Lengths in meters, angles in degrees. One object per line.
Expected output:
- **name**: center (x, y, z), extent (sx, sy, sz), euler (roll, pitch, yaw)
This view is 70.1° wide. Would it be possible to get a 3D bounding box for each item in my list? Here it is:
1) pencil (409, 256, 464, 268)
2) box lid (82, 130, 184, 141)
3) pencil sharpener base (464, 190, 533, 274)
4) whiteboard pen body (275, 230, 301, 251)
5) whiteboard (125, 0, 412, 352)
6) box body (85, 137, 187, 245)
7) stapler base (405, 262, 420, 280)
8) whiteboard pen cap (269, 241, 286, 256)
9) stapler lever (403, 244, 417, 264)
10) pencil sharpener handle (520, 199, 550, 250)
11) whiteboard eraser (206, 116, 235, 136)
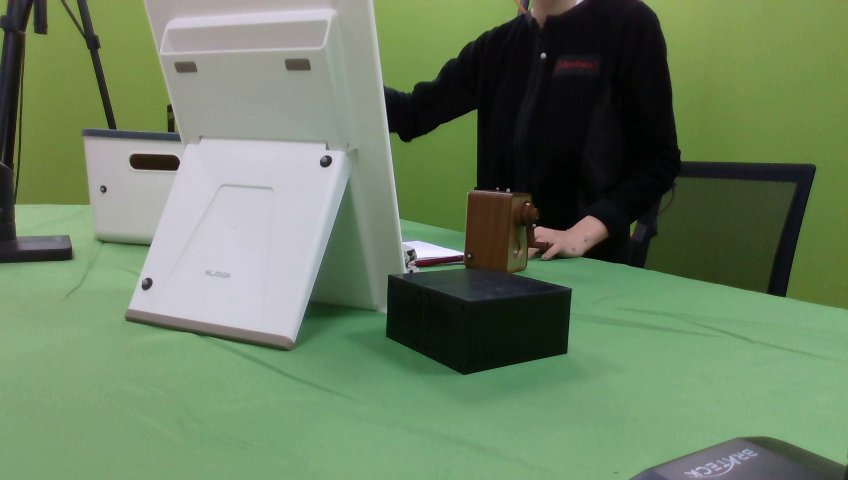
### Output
- **pencil**: center (0.041, 0.028, 0.848), extent (0.012, 0.012, 0.195), euler (10, 10, 43)
- **box lid**: center (-0.337, -0.161, 1.011), extent (0.263, 0.015, 0.372), euler (4, 7, 11)
- **pencil sharpener base**: center (0.102, -0.012, 0.812), extent (0.076, 0.107, 0.061), euler (8, 9, 36)
- **whiteboard pen body**: center (-0.203, 0.002, 0.894), extent (0.017, 0.017, 0.140), euler (2, 9, -1)
- **whiteboard**: center (-0.151, -0.049, 0.472), extent (0.216, 0.305, 0.144), euler (6, 27, 24)
- **box body**: center (-0.340, -0.088, 1.022), extent (0.254, 0.160, 0.364), euler (4, 7, 11)
- **stapler base**: center (-0.069, 0.027, 0.759), extent (0.130, 0.024, 0.041), euler (9, 13, 23)
- **whiteboard pen cap**: center (-0.202, 0.012, 0.836), extent (0.018, 0.018, 0.033), euler (2, 9, -1)
- **stapler lever**: center (-0.066, 0.003, 0.755), extent (0.117, 0.040, 0.027), euler (9, 13, 23)
- **pencil sharpener handle**: center (0.147, -0.019, 0.785), extent (0.030, 0.068, 0.036), euler (8, 26, 36)
- **whiteboard eraser**: center (-0.450, -0.252, 1.335), extent (0.056, 0.042, 0.112), euler (1, 7, -22)
